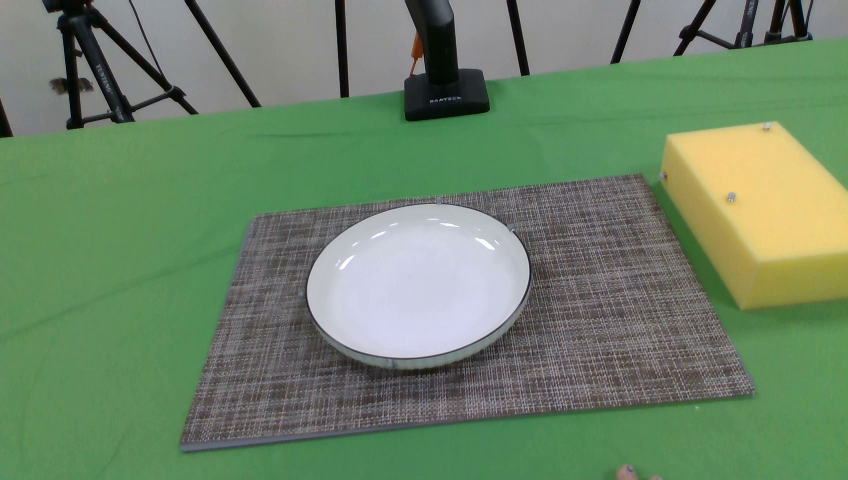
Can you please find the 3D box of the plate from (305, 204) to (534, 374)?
[{"bbox_3d":[-0.003,0.044,0.561,0.207,0.039,0.205,-5,40,4],"label":"plate"}]

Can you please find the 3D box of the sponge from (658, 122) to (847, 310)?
[{"bbox_3d":[0.322,-0.031,0.580,0.118,0.061,0.204,-8,39,1],"label":"sponge"}]
